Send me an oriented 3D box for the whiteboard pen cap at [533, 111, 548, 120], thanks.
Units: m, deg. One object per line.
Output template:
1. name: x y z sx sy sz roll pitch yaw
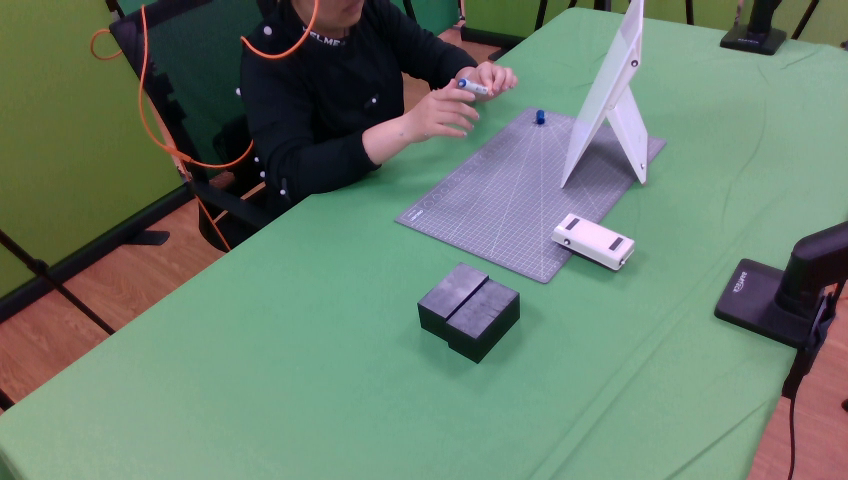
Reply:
1. whiteboard pen cap: 0.238 -0.255 1.238 0.018 0.018 0.033 -27 27 -22

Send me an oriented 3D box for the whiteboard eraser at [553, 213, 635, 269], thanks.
1. whiteboard eraser: 0.257 0.003 0.918 0.112 0.042 0.056 27 49 30

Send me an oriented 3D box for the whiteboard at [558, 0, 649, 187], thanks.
1. whiteboard: 0.361 -0.238 1.026 0.144 0.306 0.217 21 45 3

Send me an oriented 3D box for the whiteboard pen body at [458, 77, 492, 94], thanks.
1. whiteboard pen body: 0.097 -0.280 1.107 0.017 0.017 0.141 16 13 25
